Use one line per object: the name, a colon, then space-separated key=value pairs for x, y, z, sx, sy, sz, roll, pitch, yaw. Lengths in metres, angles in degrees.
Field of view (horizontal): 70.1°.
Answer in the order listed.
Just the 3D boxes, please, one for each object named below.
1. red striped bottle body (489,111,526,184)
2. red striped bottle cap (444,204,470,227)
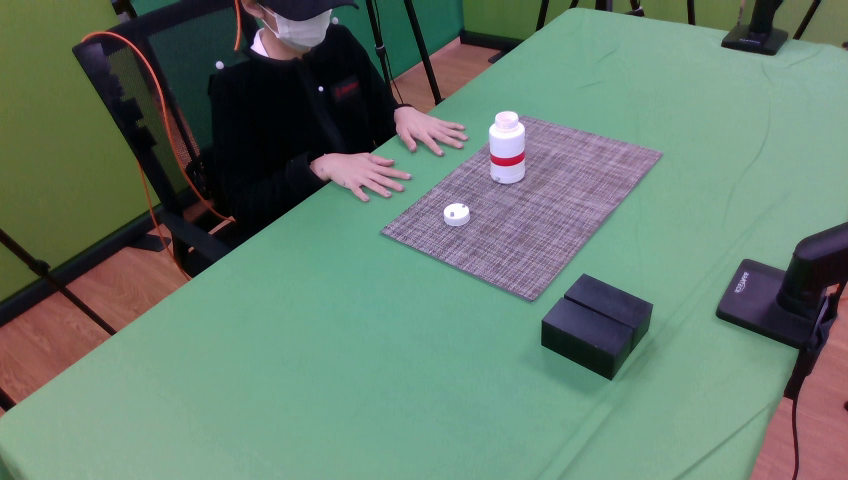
red striped bottle body: x=0.147 y=-0.164 z=1.064 sx=0.063 sy=0.120 sz=0.062 roll=-5 pitch=39 yaw=4
red striped bottle cap: x=0.055 y=-0.042 z=1.016 sx=0.044 sy=0.018 sz=0.044 roll=-2 pitch=42 yaw=3
